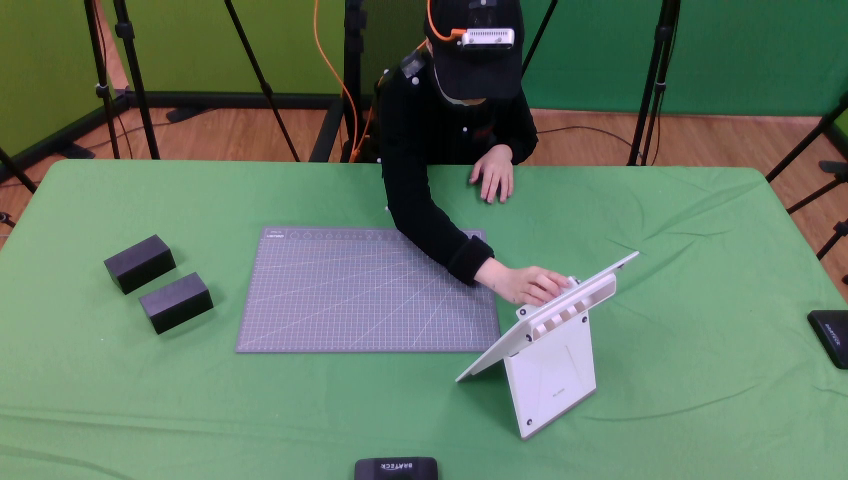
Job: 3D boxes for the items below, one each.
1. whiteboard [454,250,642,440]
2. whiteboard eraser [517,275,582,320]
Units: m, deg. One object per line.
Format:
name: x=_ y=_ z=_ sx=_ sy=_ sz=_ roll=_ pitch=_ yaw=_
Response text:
whiteboard: x=0.206 y=0.174 z=0.889 sx=0.217 sy=0.306 sz=0.143 roll=-24 pitch=72 yaw=-25
whiteboard eraser: x=0.209 y=0.101 z=0.989 sx=0.113 sy=0.056 sz=0.041 roll=-35 pitch=79 yaw=16
